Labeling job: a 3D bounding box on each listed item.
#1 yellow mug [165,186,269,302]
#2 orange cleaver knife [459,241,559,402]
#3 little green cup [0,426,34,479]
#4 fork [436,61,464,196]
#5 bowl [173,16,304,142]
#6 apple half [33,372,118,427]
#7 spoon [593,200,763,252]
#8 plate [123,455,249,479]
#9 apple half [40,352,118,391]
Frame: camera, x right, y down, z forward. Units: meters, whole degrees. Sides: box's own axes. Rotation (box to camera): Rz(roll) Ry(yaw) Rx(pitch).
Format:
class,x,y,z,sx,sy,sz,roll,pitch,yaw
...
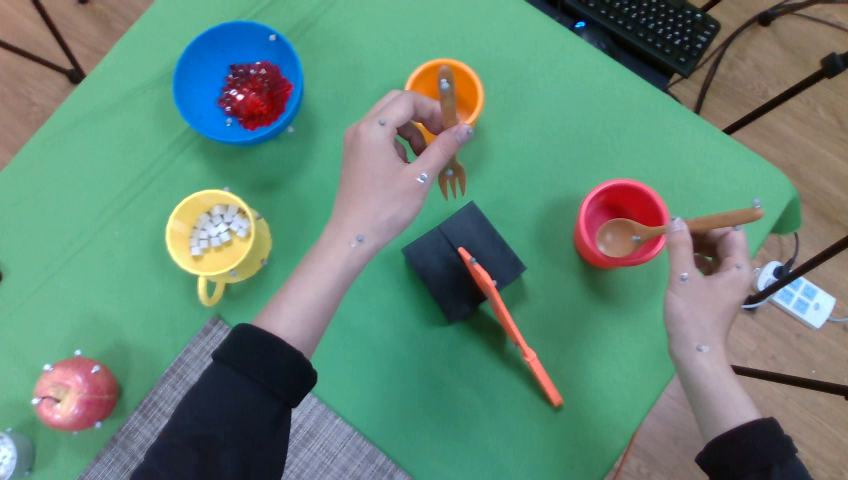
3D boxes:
class,x,y,z,sx,sy,sz,roll,pitch,yaw
yellow mug,-0.240,0.008,0.704,0.100,0.064,0.130,6,80,2
orange cleaver knife,0.094,0.091,0.670,0.012,0.076,0.213,-32,113,-2
little green cup,-0.477,0.240,0.681,0.061,0.039,0.061,0,79,2
fork,0.021,-0.084,0.510,0.028,0.208,0.018,-12,72,0
bowl,-0.213,-0.181,0.732,0.151,0.077,0.151,0,80,1
apple half,-0.389,0.179,0.673,0.081,0.075,0.053,17,85,1
spoon,0.227,-0.014,0.567,0.022,0.193,0.041,-3,86,-21
plate,-0.258,0.338,0.654,0.209,0.038,0.208,0,80,1
apple half,-0.378,0.143,0.678,0.081,0.081,0.032,17,84,5
